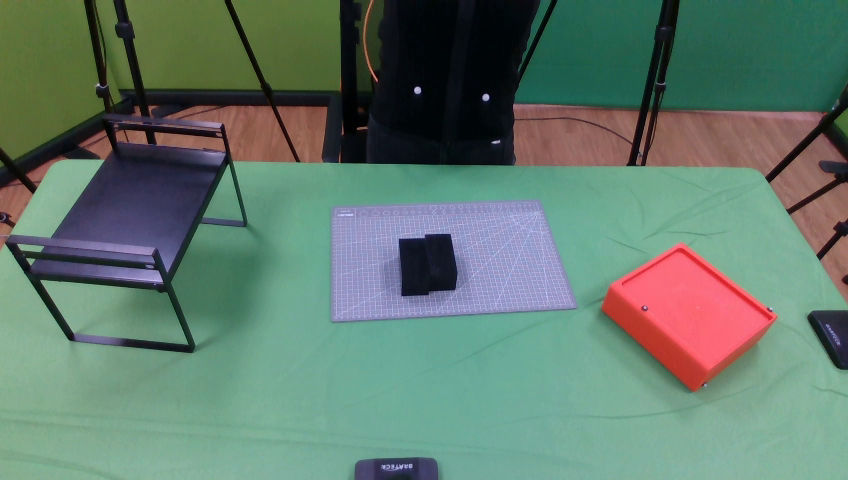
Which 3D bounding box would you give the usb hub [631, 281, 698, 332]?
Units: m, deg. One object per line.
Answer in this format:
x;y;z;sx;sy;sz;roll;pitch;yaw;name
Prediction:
0.434;0.119;1.091;0.125;0.025;0.049;-24;50;-26;usb hub

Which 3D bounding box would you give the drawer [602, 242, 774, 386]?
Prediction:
0.460;0.124;1.067;0.194;0.073;0.210;-25;52;-26;drawer

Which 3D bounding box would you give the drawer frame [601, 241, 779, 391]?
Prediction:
0.462;0.124;1.066;0.202;0.083;0.212;-26;54;-26;drawer frame
